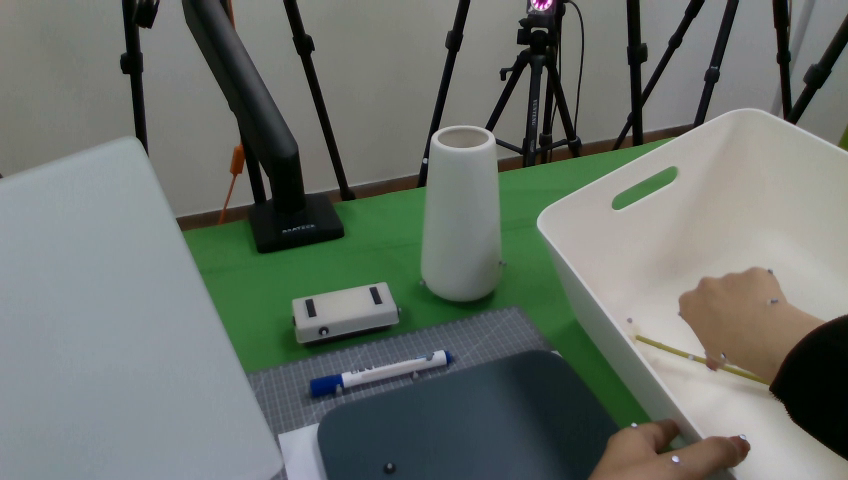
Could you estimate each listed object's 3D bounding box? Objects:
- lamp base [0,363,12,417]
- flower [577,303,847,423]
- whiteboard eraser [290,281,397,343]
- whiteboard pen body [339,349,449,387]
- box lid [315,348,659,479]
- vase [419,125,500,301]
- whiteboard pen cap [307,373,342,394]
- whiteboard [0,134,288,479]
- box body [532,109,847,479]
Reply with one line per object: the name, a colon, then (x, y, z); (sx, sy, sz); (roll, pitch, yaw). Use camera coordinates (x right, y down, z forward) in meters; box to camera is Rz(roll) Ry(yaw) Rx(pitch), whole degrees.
lamp base: (-0.490, 0.098, 0.526); (0.178, 0.182, 0.160); (10, 35, 19)
flower: (0.304, 0.130, 0.554); (0.358, 0.038, 0.044); (21, -5, 39)
whiteboard eraser: (-0.091, 0.082, 0.676); (0.113, 0.042, 0.055); (-11, 33, -14)
whiteboard pen body: (-0.042, 0.132, 0.616); (0.141, 0.017, 0.017); (-10, 35, -14)
box lid: (0.077, 0.234, 0.467); (0.264, 0.015, 0.367); (-12, 35, -17)
vase: (0.043, -0.027, 0.697); (0.098, 0.201, 0.097); (1, 33, 0)
whiteboard pen cap: (-0.098, 0.142, 0.601); (0.033, 0.018, 0.018); (-8, 34, -16)
whiteboard: (-0.276, 0.103, 0.455); (0.143, 0.307, 0.217); (5, 29, 44)
box body: (0.294, 0.065, 0.525); (0.254, 0.162, 0.360); (-28, 36, 0)
